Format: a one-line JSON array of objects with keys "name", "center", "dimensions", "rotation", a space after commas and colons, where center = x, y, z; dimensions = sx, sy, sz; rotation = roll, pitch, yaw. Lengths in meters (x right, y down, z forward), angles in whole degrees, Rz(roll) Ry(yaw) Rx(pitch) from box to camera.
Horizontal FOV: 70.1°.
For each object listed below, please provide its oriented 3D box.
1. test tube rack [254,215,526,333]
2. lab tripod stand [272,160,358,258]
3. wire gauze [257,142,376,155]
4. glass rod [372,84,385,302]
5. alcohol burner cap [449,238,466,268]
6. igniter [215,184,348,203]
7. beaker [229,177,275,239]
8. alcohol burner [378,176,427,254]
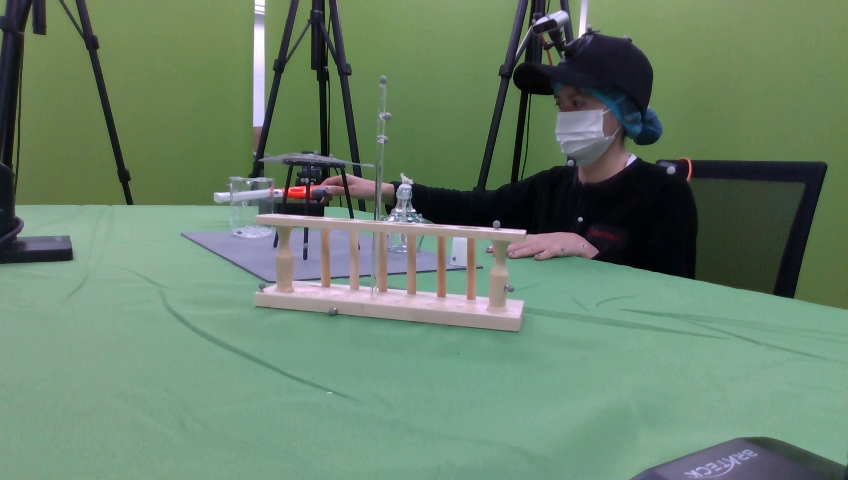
[{"name": "test tube rack", "center": [-0.030, 0.025, 0.558], "dimensions": [0.242, 0.085, 0.067], "rotation": [4, 7, 12]}, {"name": "lab tripod stand", "center": [-0.159, -0.048, 0.876], "dimensions": [0.148, 0.131, 0.148], "rotation": [3, 5, 0]}, {"name": "wire gauze", "center": [-0.155, -0.130, 0.871], "dimensions": [0.124, 0.011, 0.122], "rotation": [-1, 7, 36]}, {"name": "glass rod", "center": [-0.041, -0.041, 0.548], "dimensions": [0.008, 0.199, 0.008], "rotation": [2, 2, 0]}, {"name": "alcohol burner cap", "center": [0.051, 0.014, 0.828], "dimensions": [0.034, 0.048, 0.034], "rotation": [2, 6, 0]}, {"name": "igniter", "center": [-0.289, -0.096, 1.255], "dimensions": [0.278, 0.025, 0.057], "rotation": [-7, 16, -33]}, {"name": "beaker", "center": [-0.292, -0.056, 1.023], "dimensions": [0.074, 0.100, 0.083], "rotation": [-1, 8, -26]}, {"name": "alcohol burner", "center": [-0.033, -0.039, 0.936], "dimensions": [0.078, 0.119, 0.078], "rotation": [1, 6, 0]}]
